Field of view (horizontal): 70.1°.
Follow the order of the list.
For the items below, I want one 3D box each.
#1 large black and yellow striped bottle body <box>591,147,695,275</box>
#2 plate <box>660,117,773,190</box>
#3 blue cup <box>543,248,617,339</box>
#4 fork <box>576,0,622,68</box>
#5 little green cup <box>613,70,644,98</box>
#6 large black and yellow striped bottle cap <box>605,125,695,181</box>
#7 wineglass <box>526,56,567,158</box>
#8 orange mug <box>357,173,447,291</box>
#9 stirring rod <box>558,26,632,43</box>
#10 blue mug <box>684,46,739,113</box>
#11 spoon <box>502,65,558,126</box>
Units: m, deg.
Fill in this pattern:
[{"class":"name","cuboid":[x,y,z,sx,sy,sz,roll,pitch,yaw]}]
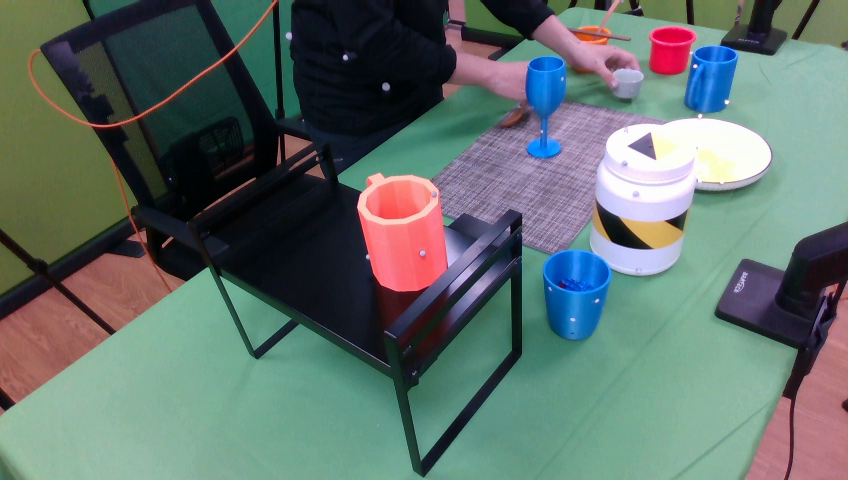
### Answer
[{"class":"large black and yellow striped bottle body","cuboid":[0.313,-0.056,0.870,0.131,0.185,0.130,-4,40,4]},{"class":"plate","cuboid":[0.495,-0.148,1.063,0.209,0.038,0.208,-5,40,4]},{"class":"blue cup","cuboid":[0.199,0.076,0.797,0.092,0.100,0.092,-4,39,4]},{"class":"fork","cuboid":[0.409,-0.484,1.381,0.028,0.019,0.207,37,101,46]},{"class":"little green cup","cuboid":[0.419,-0.321,1.246,0.061,0.039,0.061,-1,38,2]},{"class":"large black and yellow striped bottle cap","cuboid":[0.304,-0.120,0.817,0.115,0.019,0.114,-3,41,3]},{"class":"wineglass","cuboid":[0.222,-0.241,1.102,0.074,0.173,0.073,-5,41,5]},{"class":"orange mug","cuboid":[-0.029,-0.018,0.669,0.084,0.101,0.125,-23,46,-16]},{"class":"stirring rod","cuboid":[0.381,-0.462,1.356,0.175,0.006,0.014,23,48,29]},{"class":"blue mug","cuboid":[0.556,-0.310,1.190,0.117,0.106,0.081,-32,46,-25]},{"class":"spoon","cuboid":[0.223,-0.301,1.251,0.194,0.022,0.041,-53,16,-17]}]
